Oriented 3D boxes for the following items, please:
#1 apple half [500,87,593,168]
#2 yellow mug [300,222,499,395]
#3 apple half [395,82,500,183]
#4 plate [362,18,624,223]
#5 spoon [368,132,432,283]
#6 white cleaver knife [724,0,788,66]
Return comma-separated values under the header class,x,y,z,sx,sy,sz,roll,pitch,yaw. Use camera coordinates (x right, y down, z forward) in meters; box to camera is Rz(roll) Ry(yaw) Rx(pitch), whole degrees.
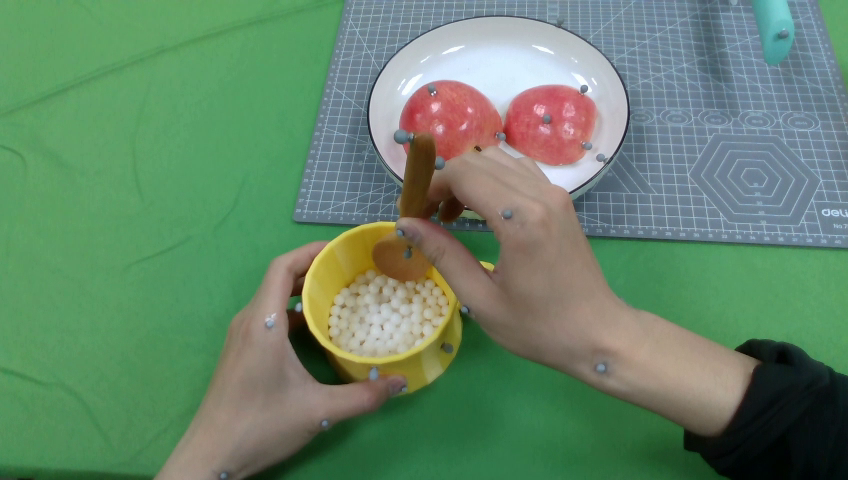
class,x,y,z,sx,sy,sz,roll,pitch,yaw
apple half,0.098,-0.099,0.486,0.081,0.033,0.080,-2,63,3
yellow mug,-0.012,0.042,0.407,0.131,0.064,0.099,-17,61,-7
apple half,0.017,-0.093,0.478,0.081,0.054,0.074,-36,61,-15
plate,0.054,-0.098,0.497,0.209,0.038,0.207,-2,60,3
spoon,-0.010,-0.008,0.341,0.041,0.194,0.021,17,72,-1
white cleaver knife,0.288,-0.256,0.556,0.021,0.066,0.284,1,56,10
